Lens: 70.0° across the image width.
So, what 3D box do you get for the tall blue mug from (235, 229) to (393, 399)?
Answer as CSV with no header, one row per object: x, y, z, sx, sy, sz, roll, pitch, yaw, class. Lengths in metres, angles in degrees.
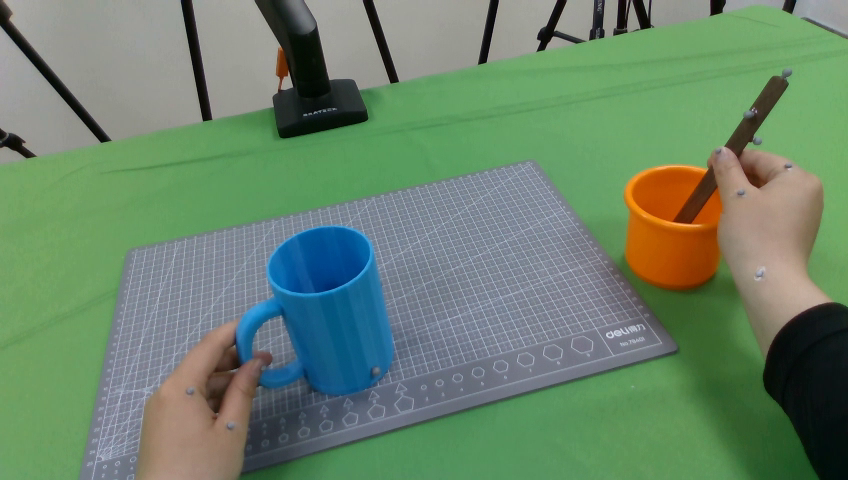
-0.075,0.066,0.447,0.077,0.109,0.107,14,44,23,tall blue mug

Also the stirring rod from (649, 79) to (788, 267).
0.229,-0.047,0.484,0.006,0.177,0.014,-9,45,-36,stirring rod
